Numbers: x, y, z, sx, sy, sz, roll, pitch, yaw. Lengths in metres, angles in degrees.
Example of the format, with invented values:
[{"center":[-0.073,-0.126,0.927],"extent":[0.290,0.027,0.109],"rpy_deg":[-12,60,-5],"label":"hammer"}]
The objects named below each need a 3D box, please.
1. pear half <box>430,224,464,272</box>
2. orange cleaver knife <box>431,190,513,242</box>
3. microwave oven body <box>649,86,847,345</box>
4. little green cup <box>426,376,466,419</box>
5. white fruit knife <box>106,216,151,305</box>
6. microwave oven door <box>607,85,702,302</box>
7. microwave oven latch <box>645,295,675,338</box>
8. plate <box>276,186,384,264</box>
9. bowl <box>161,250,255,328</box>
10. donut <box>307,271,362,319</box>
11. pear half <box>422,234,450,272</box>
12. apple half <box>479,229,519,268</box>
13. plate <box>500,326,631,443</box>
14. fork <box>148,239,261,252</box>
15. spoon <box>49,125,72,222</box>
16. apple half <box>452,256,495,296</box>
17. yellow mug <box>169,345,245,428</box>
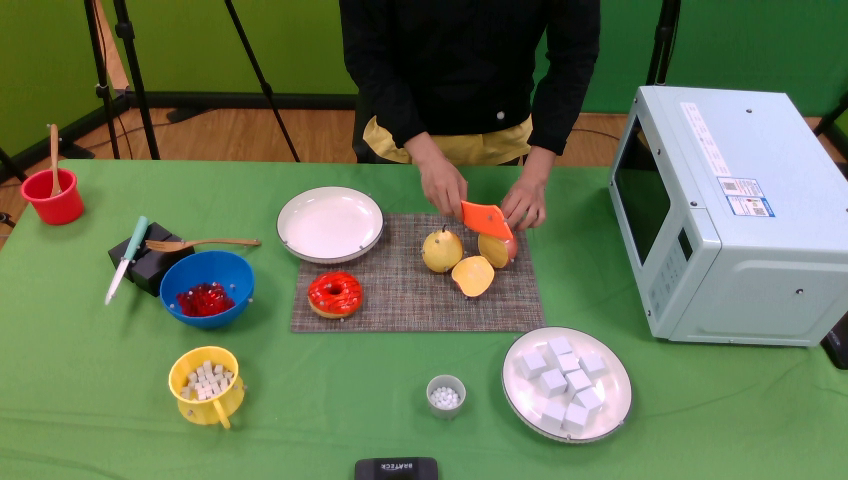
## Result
[{"center":[0.045,0.004,1.131],"extent":[0.056,0.110,0.076],"rpy_deg":[-33,60,-30],"label":"pear half"},{"center":[0.085,-0.046,1.107],"extent":[0.012,0.077,0.210],"rpy_deg":[-33,32,-25],"label":"orange cleaver knife"},{"center":[0.567,-0.053,1.118],"extent":[0.326,0.261,0.439],"rpy_deg":[2,45,-1],"label":"microwave oven body"},{"center":[0.033,0.248,0.950],"extent":[0.061,0.039,0.061],"rpy_deg":[2,46,-2],"label":"little green cup"},{"center":[-0.519,0.032,1.066],"extent":[0.027,0.016,0.206],"rpy_deg":[-18,45,19],"label":"white fruit knife"},{"center":[0.423,-0.094,1.140],"extent":[0.039,0.245,0.353],"rpy_deg":[2,46,-1],"label":"microwave oven door"},{"center":[0.412,0.134,1.061],"extent":[0.030,0.029,0.078],"rpy_deg":[3,45,0],"label":"microwave oven latch"},{"center":[-0.184,-0.027,1.195],"extent":[0.209,0.038,0.208],"rpy_deg":[2,46,-2],"label":"plate"},{"center":[-0.362,0.097,1.040],"extent":[0.151,0.077,0.150],"rpy_deg":[2,45,-2],"label":"bowl"},{"center":[-0.157,0.097,1.073],"extent":[0.099,0.048,0.098],"rpy_deg":[4,45,-4],"label":"donut"},{"center":[0.017,0.026,1.122],"extent":[0.031,0.088,0.070],"rpy_deg":[-33,62,-30],"label":"pear half"},{"center":[0.149,0.008,1.160],"extent":[0.053,0.075,0.080],"rpy_deg":[-28,49,-33],"label":"apple half"},{"center":[0.224,0.234,0.978],"extent":[0.208,0.039,0.206],"rpy_deg":[2,46,-2],"label":"plate"},{"center":[-0.399,0.007,1.118],"extent":[0.208,0.019,0.028],"rpy_deg":[-4,35,-37],"label":"fork"},{"center":[-0.717,-0.131,1.189],"extent":[0.042,0.021,0.193],"rpy_deg":[-3,90,-7],"label":"spoon"},{"center":[0.096,0.069,1.121],"extent":[0.081,0.033,0.081],"rpy_deg":[-7,62,13],"label":"apple half"},{"center":[-0.322,0.230,0.922],"extent":[0.100,0.064,0.130],"rpy_deg":[-24,53,-25],"label":"yellow mug"}]
